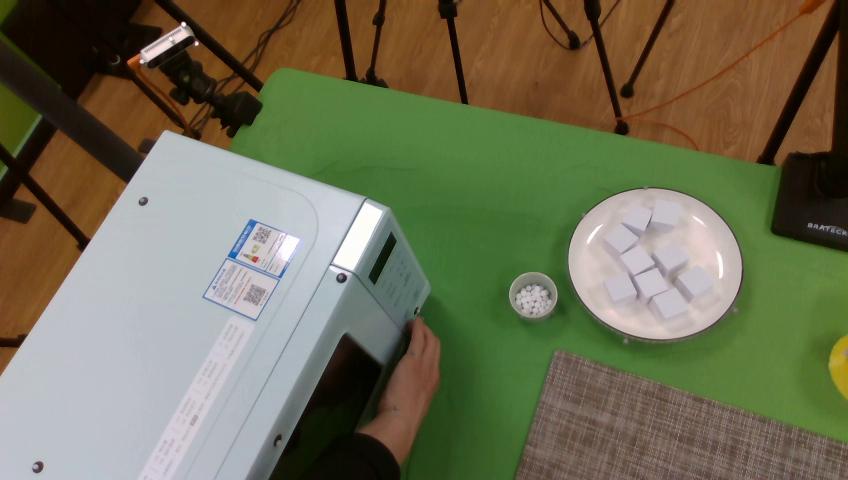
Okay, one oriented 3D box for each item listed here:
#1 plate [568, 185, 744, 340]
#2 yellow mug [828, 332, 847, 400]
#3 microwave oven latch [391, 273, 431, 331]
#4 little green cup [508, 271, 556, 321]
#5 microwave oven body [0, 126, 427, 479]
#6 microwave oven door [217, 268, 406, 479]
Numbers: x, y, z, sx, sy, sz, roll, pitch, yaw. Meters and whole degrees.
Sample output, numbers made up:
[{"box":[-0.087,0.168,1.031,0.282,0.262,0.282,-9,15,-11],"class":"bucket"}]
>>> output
[{"box":[0.290,0.029,0.770,0.207,0.039,0.206,-4,66,10],"class":"plate"},{"box":[0.512,0.149,0.655,0.100,0.064,0.129,-11,65,7],"class":"yellow mug"},{"box":[-0.020,0.077,0.792,0.030,0.030,0.079,26,74,20],"class":"microwave oven latch"},{"box":[0.140,0.075,0.779,0.061,0.039,0.061,-5,67,12],"class":"little green cup"},{"box":[-0.243,0.145,0.700,0.324,0.262,0.440,20,72,19],"class":"microwave oven body"},{"box":[-0.133,0.225,0.636,0.039,0.246,0.354,19,71,19],"class":"microwave oven door"}]
